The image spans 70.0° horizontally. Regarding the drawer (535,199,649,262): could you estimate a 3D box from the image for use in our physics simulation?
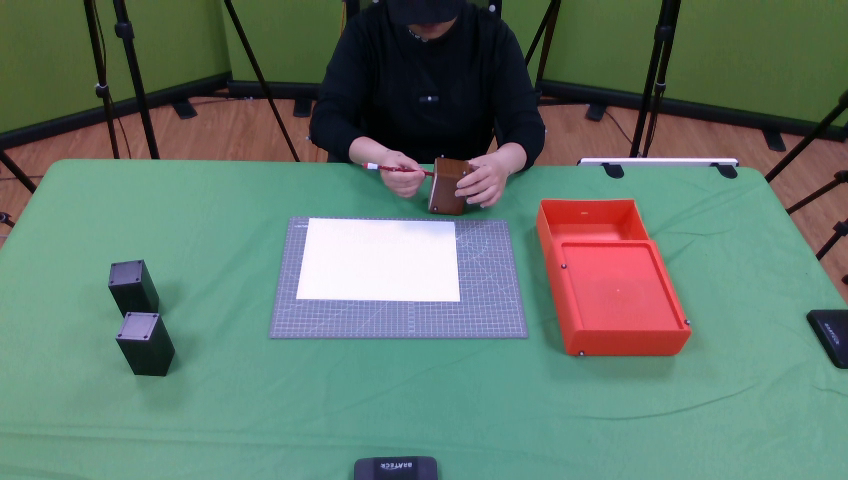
[{"bbox_3d":[0.332,0.015,1.169,0.195,0.073,0.210,0,46,-5],"label":"drawer"}]

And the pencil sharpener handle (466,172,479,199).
[{"bbox_3d":[0.104,-0.111,1.242,0.031,0.068,0.036,7,50,-5],"label":"pencil sharpener handle"}]

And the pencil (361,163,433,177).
[{"bbox_3d":[-0.030,-0.137,1.218,0.194,0.012,0.012,7,45,-5],"label":"pencil"}]

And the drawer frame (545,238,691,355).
[{"bbox_3d":[0.338,0.097,1.086,0.202,0.083,0.212,0,46,-4],"label":"drawer frame"}]

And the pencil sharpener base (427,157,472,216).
[{"bbox_3d":[0.051,-0.107,1.245,0.077,0.107,0.061,7,44,-5],"label":"pencil sharpener base"}]
